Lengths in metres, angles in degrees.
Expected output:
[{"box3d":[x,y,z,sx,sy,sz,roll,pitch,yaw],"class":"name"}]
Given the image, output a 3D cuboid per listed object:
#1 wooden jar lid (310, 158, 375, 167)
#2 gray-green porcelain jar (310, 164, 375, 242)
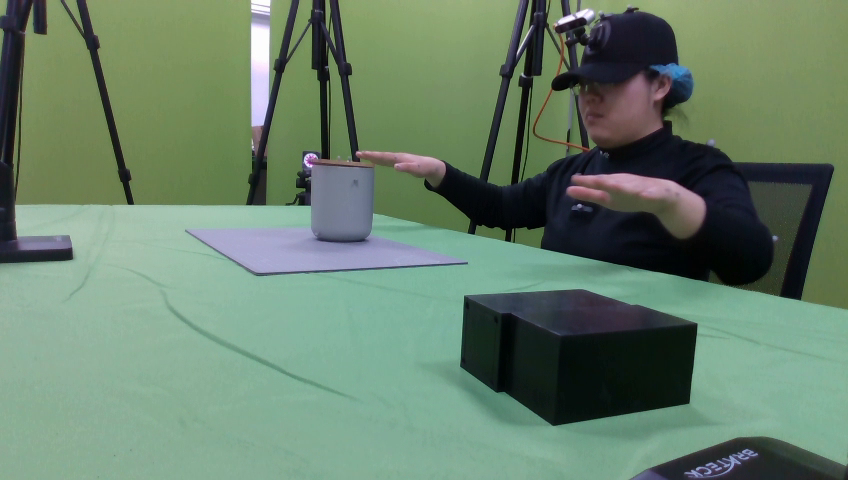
[{"box3d":[-0.137,-0.125,1.017,0.108,0.020,0.108,4,8,0],"class":"wooden jar lid"},{"box3d":[-0.139,-0.063,1.025,0.106,0.126,0.106,3,8,0],"class":"gray-green porcelain jar"}]
